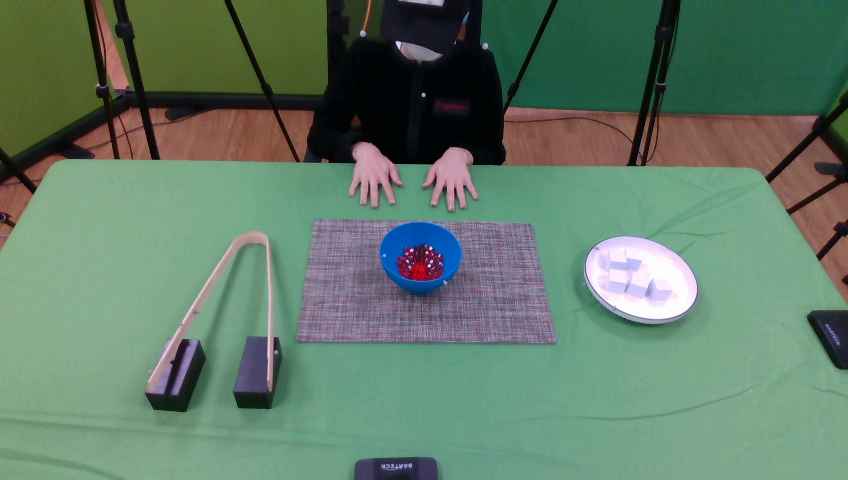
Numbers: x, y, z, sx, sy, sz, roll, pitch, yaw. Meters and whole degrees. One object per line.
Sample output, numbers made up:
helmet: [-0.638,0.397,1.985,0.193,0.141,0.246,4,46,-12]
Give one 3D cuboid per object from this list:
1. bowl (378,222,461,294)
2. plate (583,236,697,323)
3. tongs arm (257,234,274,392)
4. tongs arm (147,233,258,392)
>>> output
bowl: [-0.010,0.046,1.110,0.151,0.077,0.150,2,46,-2]
plate: [0.403,0.077,1.144,0.209,0.038,0.208,2,45,-2]
tongs arm: [-0.269,0.104,1.025,0.028,0.028,0.385,-9,36,-9]
tongs arm: [-0.358,0.103,1.018,0.051,0.026,0.382,3,34,2]
